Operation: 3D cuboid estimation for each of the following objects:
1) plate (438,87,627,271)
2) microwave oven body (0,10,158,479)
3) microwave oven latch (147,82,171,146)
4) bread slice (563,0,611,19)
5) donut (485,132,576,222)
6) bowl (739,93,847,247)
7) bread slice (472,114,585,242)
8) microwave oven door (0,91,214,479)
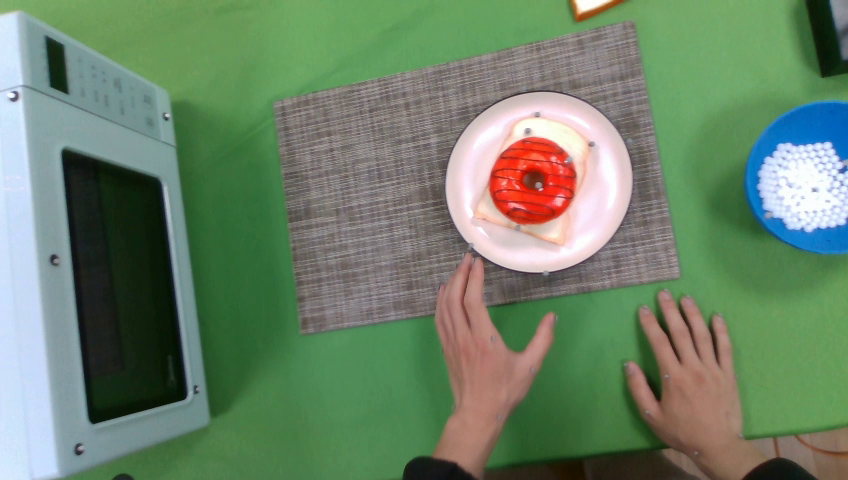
[{"bbox_3d":[0.121,-0.067,0.689,0.207,0.039,0.207,-1,86,11],"label":"plate"},{"bbox_3d":[-0.478,0.036,0.687,0.325,0.261,0.440,-12,84,10],"label":"microwave oven body"},{"bbox_3d":[-0.348,-0.158,0.775,0.030,0.029,0.079,-11,84,10],"label":"microwave oven latch"},{"bbox_3d":[0.193,-0.339,0.710,0.105,0.019,0.131,-24,82,8],"label":"bread slice"},{"bbox_3d":[0.115,-0.068,0.662,0.099,0.048,0.099,-1,86,12],"label":"donut"},{"bbox_3d":[0.393,-0.064,0.618,0.151,0.077,0.151,-1,85,11],"label":"bowl"},{"bbox_3d":[0.122,-0.075,0.690,0.106,0.018,0.134,15,89,12],"label":"bread slice"},{"bbox_3d":[-0.330,0.047,0.652,0.039,0.245,0.354,-12,83,11],"label":"microwave oven door"}]
